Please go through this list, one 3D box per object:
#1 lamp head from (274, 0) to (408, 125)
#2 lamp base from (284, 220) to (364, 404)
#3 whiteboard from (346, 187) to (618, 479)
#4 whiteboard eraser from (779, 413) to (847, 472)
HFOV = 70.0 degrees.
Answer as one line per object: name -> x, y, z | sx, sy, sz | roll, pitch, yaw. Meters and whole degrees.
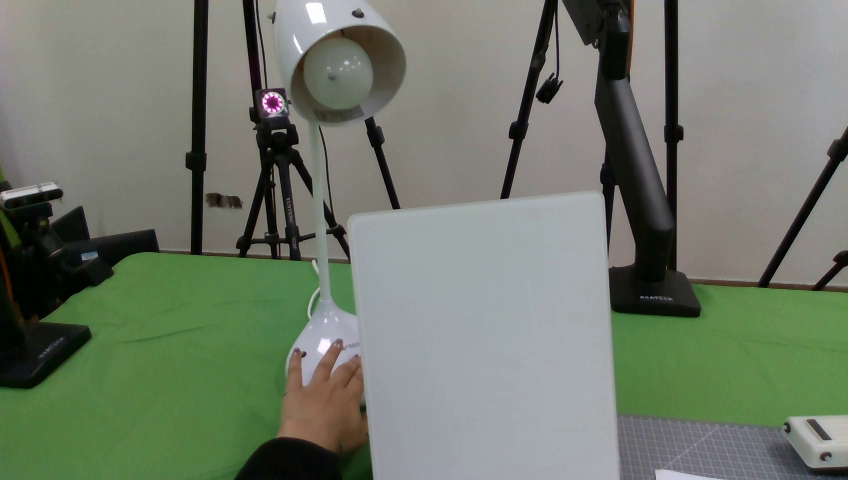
lamp head -> -0.089, -0.182, 0.562 | 0.113, 0.113, 0.121 | -14, 53, -26
lamp base -> -0.101, 0.075, 0.728 | 0.161, 0.181, 0.177 | -20, 29, -34
whiteboard -> 0.047, 0.111, 0.571 | 0.218, 0.306, 0.143 | -6, 7, -9
whiteboard eraser -> 0.423, 0.201, 0.602 | 0.113, 0.042, 0.055 | -1, 27, 0
